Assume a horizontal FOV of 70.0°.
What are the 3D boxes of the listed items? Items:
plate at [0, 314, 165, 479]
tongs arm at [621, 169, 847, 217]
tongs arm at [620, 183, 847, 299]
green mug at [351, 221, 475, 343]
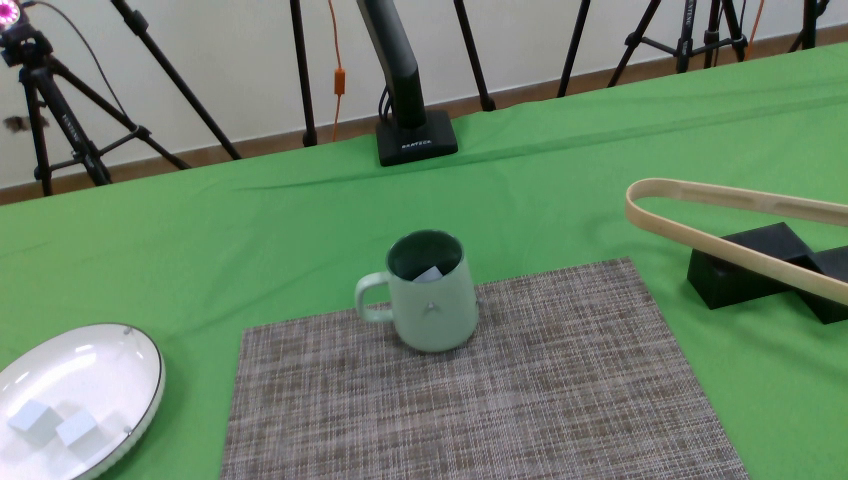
[{"bbox_3d":[-0.367,0.167,0.623,0.209,0.038,0.207,-5,42,5],"label":"plate"},{"bbox_3d":[0.397,-0.026,0.607,0.382,0.027,0.050,15,52,26],"label":"tongs arm"},{"bbox_3d":[0.355,0.024,0.565,0.384,0.028,0.028,26,61,34],"label":"tongs arm"},{"bbox_3d":[-0.012,0.047,0.623,0.125,0.106,0.091,-11,43,-1],"label":"green mug"}]
